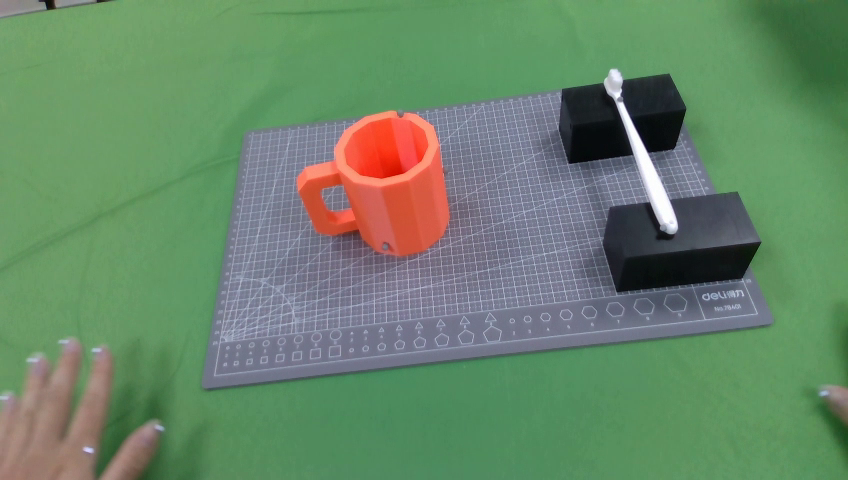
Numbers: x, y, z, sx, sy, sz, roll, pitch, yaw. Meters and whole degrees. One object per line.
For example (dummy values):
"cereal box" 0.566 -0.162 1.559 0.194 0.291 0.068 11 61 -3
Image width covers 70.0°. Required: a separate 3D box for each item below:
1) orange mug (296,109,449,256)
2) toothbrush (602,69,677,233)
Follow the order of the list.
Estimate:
"orange mug" -0.043 -0.045 0.524 0.126 0.102 0.082 -11 53 -5
"toothbrush" 0.179 -0.081 0.507 0.014 0.017 0.180 0 54 -10
